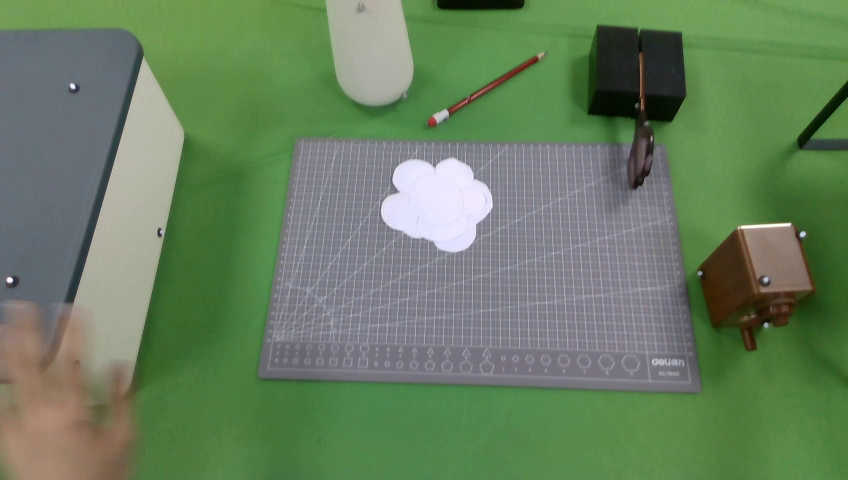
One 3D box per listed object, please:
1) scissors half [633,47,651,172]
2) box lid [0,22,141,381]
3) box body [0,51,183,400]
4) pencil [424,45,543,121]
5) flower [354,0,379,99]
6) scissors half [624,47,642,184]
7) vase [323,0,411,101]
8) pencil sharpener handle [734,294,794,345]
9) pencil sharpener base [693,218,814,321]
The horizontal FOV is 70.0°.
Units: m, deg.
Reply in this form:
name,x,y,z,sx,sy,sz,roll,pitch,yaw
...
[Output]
name,x,y,z,sx,sy,sz,roll,pitch,yaw
scissors half,0.245,-0.155,0.690,0.013,0.040,0.174,4,61,5
box lid,-0.420,-0.057,0.552,0.263,0.015,0.368,0,66,1
box body,-0.417,-0.024,0.619,0.254,0.161,0.361,0,66,2
pencil,0.079,-0.203,0.771,0.194,0.012,0.012,-35,69,-15
flower,-0.078,-0.300,0.624,0.044,0.365,0.038,-5,48,3
scissors half,0.246,-0.147,0.708,0.013,0.040,0.174,6,79,0
vase,-0.069,-0.252,0.693,0.098,0.201,0.097,-1,64,3
pencil sharpener handle,0.321,0.076,0.571,0.036,0.068,0.030,3,65,-13
pencil sharpener base,0.323,0.035,0.603,0.061,0.108,0.076,-3,66,0
